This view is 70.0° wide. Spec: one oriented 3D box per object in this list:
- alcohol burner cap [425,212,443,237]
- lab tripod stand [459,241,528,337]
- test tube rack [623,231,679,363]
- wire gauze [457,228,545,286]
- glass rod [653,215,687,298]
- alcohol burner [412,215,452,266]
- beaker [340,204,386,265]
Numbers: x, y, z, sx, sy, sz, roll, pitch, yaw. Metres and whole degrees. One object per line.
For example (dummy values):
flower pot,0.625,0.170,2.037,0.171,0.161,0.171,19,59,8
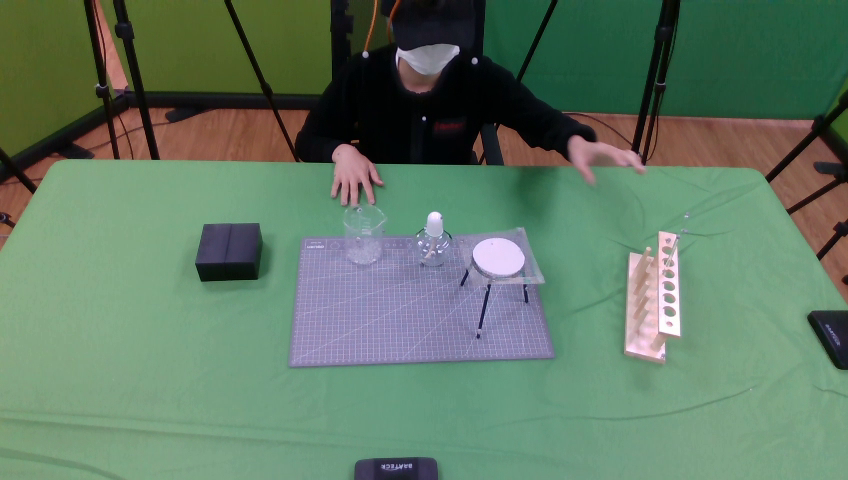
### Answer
alcohol burner cap,0.019,-0.032,1.114,0.034,0.048,0.033,0,48,0
lab tripod stand,0.122,0.075,1.054,0.148,0.132,0.147,3,44,-3
test tube rack,0.410,0.094,1.096,0.066,0.085,0.241,13,46,9
wire gauze,0.126,0.029,1.006,0.125,0.011,0.120,-4,46,-10
glass rod,0.431,0.034,1.063,0.008,0.201,0.008,0,42,0
alcohol burner,0.017,-0.006,1.139,0.078,0.119,0.077,2,48,-2
beaker,-0.114,-0.008,1.140,0.084,0.101,0.073,-2,47,-8
